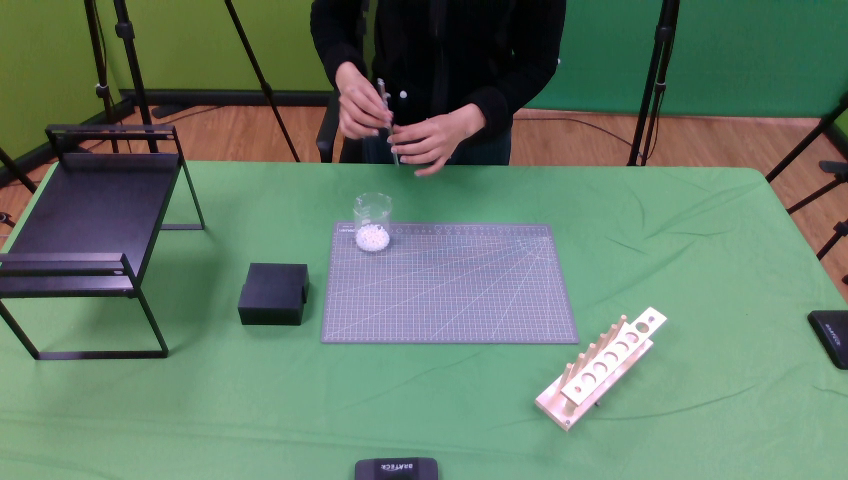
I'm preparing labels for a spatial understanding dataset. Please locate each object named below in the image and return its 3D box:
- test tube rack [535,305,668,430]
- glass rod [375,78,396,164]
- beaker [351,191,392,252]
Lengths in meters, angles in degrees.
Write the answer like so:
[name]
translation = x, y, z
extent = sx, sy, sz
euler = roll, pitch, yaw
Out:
[test tube rack]
translation = 0.290, 0.193, 0.984
extent = 0.242, 0.085, 0.066
euler = -32, 57, -30
[glass rod]
translation = -0.066, -0.204, 1.066
extent = 0.008, 0.201, 0.008
euler = -4, 54, 5
[beaker]
translation = -0.097, -0.034, 1.162
extent = 0.084, 0.101, 0.073
euler = -29, 55, -28
